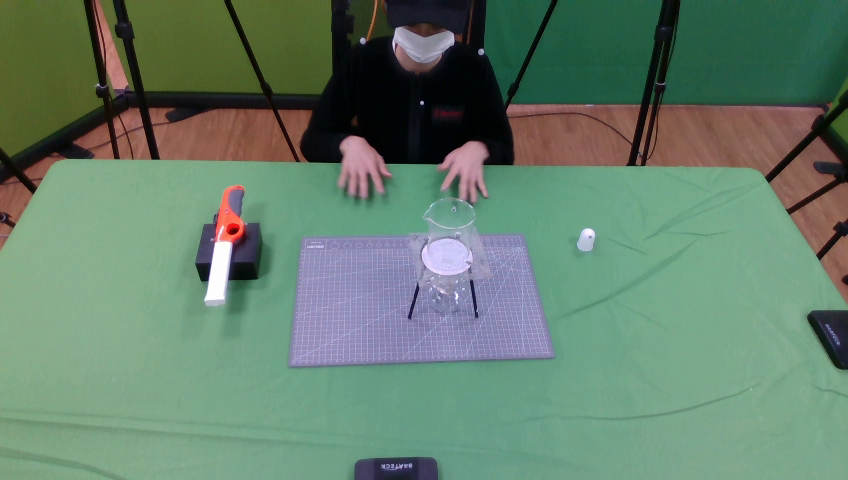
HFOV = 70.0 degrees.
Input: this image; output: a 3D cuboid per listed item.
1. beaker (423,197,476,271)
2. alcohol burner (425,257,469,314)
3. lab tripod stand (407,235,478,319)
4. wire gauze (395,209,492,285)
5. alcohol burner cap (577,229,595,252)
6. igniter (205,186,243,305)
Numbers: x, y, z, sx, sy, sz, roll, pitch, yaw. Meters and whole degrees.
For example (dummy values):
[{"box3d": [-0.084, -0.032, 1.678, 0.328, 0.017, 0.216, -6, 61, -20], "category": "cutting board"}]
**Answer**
[{"box3d": [0.038, -0.007, 0.967, 0.084, 0.101, 0.073, -4, 43, -7], "category": "beaker"}, {"box3d": [0.040, 0.074, 1.062, 0.078, 0.120, 0.077, 1, 46, -1], "category": "alcohol burner"}, {"box3d": [0.032, 0.065, 1.057, 0.148, 0.132, 0.147, 1, 45, -1], "category": "lab tripod stand"}, {"box3d": [0.031, 0.011, 0.995, 0.125, 0.011, 0.120, -23, 53, -19], "category": "wire gauze"}, {"box3d": [0.326, -0.002, 1.213, 0.034, 0.048, 0.033, 1, 47, -1], "category": "alcohol burner cap"}, {"box3d": [-0.361, 0.001, 1.100, 0.057, 0.025, 0.274, -2, 49, -6], "category": "igniter"}]
